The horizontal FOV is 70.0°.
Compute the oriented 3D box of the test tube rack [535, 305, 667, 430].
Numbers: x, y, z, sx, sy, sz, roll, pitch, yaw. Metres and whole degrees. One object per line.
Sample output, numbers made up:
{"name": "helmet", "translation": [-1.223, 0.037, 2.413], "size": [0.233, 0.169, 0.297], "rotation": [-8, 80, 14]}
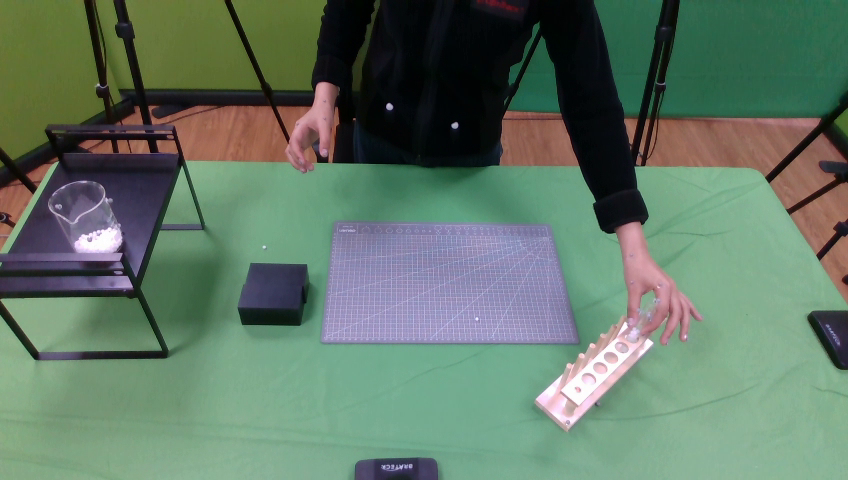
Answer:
{"name": "test tube rack", "translation": [0.290, 0.193, 0.984], "size": [0.242, 0.085, 0.066], "rotation": [-32, 56, -30]}

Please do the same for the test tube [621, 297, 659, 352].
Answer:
{"name": "test tube", "translation": [0.335, 0.136, 0.948], "size": [0.017, 0.151, 0.017], "rotation": [1, 50, -1]}

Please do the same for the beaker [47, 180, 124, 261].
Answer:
{"name": "beaker", "translation": [-0.486, -0.023, 0.879], "size": [0.074, 0.101, 0.083], "rotation": [-7, 48, -9]}
